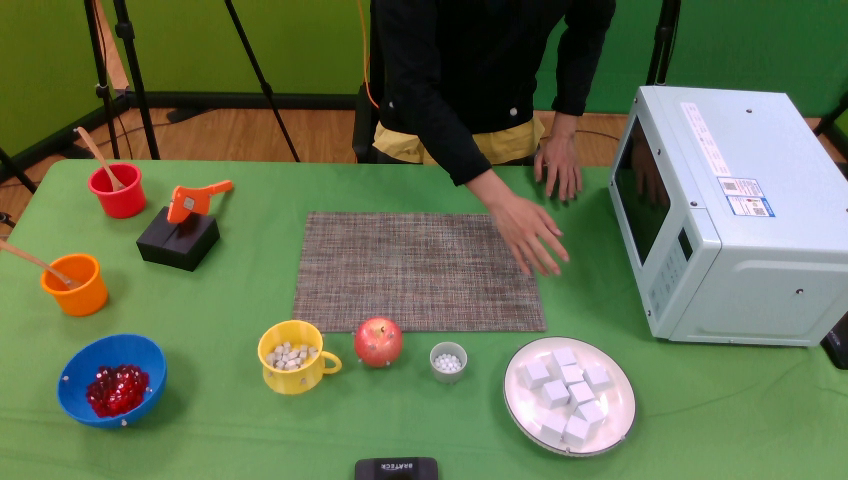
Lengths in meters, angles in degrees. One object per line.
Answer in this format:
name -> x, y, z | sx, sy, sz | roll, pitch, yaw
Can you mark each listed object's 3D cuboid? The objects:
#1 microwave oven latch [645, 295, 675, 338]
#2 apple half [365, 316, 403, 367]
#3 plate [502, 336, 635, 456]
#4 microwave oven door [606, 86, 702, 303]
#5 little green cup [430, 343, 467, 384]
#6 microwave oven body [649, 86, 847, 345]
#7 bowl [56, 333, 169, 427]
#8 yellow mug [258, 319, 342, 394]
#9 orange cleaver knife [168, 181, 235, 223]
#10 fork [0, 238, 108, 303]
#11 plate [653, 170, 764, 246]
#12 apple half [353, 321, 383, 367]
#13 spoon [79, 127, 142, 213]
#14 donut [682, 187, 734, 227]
microwave oven latch -> 0.412, 0.134, 1.061 | 0.030, 0.029, 0.078 | 3, 45, 0
apple half -> -0.063, 0.165, 1.000 | 0.053, 0.075, 0.080 | -16, 45, -24
plate -> 0.225, 0.248, 0.963 | 0.208, 0.039, 0.206 | 2, 46, -2
microwave oven door -> 0.422, -0.094, 1.140 | 0.039, 0.245, 0.353 | 3, 46, -1
little green cup -> 0.039, 0.203, 0.993 | 0.061, 0.039, 0.061 | 2, 46, -2
microwave oven body -> 0.567, -0.053, 1.118 | 0.326, 0.261, 0.439 | 2, 45, -1
bowl -> -0.456, 0.223, 0.912 | 0.151, 0.077, 0.150 | 3, 45, -2
yellow mug -> -0.195, 0.188, 0.972 | 0.131, 0.064, 0.099 | 9, 47, 4
orange cleaver knife -> -0.436, -0.078, 1.196 | 0.012, 0.077, 0.211 | 15, 15, 10
fork -> -0.633, 0.048, 1.017 | 0.208, 0.018, 0.028 | 40, 43, -27
plate -> 0.555, -0.059, 1.196 | 0.209, 0.038, 0.208 | 2, 46, -2
apple half -> -0.098, 0.177, 0.984 | 0.033, 0.081, 0.081 | -17, 49, -25
spoon -> -0.625, -0.139, 1.203 | 0.041, 0.021, 0.194 | -33, 101, -26
donut -> 0.553, -0.066, 1.184 | 0.099, 0.048, 0.098 | 3, 44, -3
